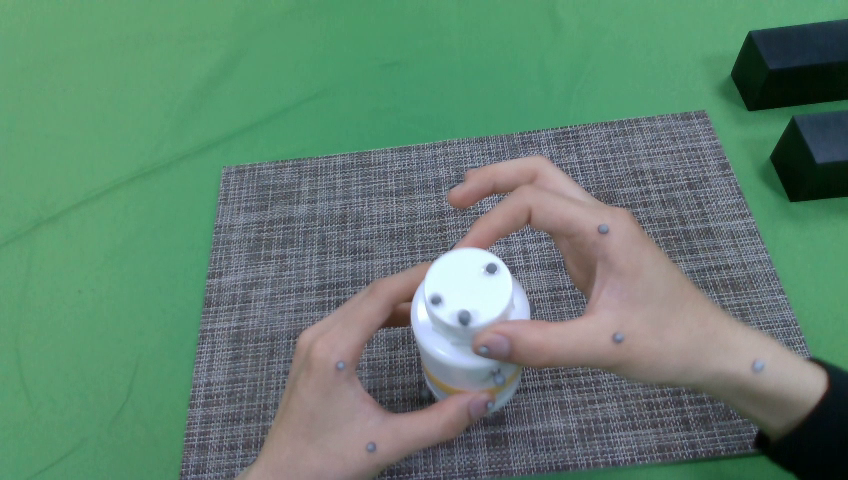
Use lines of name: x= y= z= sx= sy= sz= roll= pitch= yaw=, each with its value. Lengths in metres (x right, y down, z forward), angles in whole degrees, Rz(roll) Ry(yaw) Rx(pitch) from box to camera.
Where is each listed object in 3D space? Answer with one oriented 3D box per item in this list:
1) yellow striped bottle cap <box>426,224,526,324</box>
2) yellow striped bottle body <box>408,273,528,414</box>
yellow striped bottle cap: x=0.023 y=0.015 z=0.274 sx=0.044 sy=0.019 sz=0.044 roll=1 pitch=56 yaw=-1
yellow striped bottle body: x=0.026 y=0.053 z=0.342 sx=0.063 sy=0.121 sz=0.062 roll=-3 pitch=60 yaw=6
